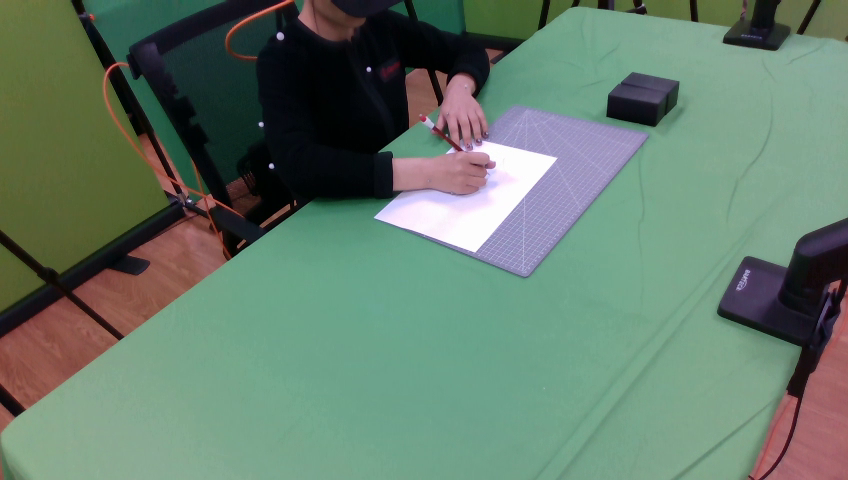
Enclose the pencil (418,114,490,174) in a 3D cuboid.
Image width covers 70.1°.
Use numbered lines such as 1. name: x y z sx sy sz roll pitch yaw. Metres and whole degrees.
1. pencil: 0.057 -0.162 1.049 0.012 0.196 0.012 -25 50 33
